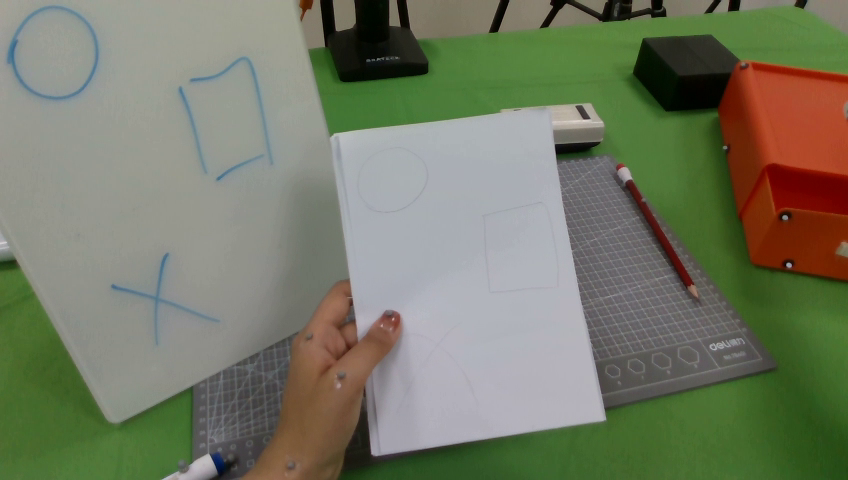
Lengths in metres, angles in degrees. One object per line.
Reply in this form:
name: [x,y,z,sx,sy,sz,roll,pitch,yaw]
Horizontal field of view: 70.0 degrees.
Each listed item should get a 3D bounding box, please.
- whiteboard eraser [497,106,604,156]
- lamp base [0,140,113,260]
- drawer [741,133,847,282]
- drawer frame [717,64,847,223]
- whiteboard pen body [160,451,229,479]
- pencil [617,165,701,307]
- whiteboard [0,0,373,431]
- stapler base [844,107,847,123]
whiteboard eraser: [0.144,-0.124,0.692,0.113,0.042,0.055,-4,45,-8]
lamp base: [-0.395,-0.098,0.534,0.178,0.182,0.160,19,46,20]
drawer: [0.422,-0.049,0.602,0.194,0.074,0.210,10,43,8]
drawer frame: [0.436,-0.094,0.646,0.201,0.083,0.212,9,44,8]
whiteboard pen body: [-0.191,0.171,0.377,0.141,0.017,0.017,-23,49,-27]
pencil: [0.229,-0.010,0.597,0.012,0.012,0.192,-5,47,-8]
whiteboard: [-0.194,-0.060,0.456,0.217,0.308,0.142,-26,31,-25]
stapler base: [0.358,-0.061,0.442,0.041,0.024,0.129,-8,57,2]
